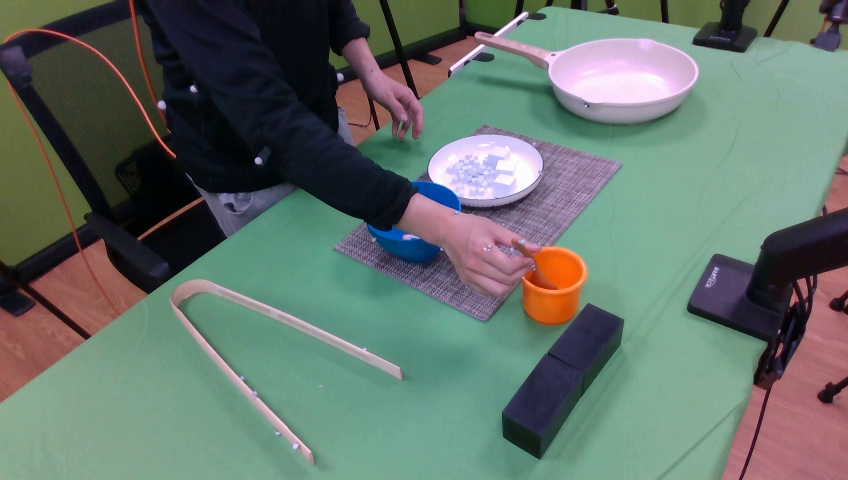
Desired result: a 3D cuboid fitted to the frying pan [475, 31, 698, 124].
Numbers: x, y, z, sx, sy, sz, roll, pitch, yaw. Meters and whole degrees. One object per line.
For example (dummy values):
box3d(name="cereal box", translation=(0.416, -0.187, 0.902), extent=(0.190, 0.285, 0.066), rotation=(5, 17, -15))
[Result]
box3d(name="frying pan", translation=(0.320, -0.371, 1.290), extent=(0.485, 0.103, 0.307), rotation=(28, 50, 23))

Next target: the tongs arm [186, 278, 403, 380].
box3d(name="tongs arm", translation=(-0.193, 0.120, 0.853), extent=(0.385, 0.028, 0.028), rotation=(18, 49, 26))

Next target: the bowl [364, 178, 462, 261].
box3d(name="bowl", translation=(-0.014, -0.020, 0.943), extent=(0.151, 0.077, 0.150), rotation=(-3, 42, 4))

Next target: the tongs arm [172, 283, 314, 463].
box3d(name="tongs arm", translation=(-0.246, 0.161, 0.806), extent=(0.381, 0.026, 0.051), rotation=(29, 51, 36))

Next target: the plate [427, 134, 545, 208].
box3d(name="plate", translation=(0.110, -0.119, 1.073), extent=(0.207, 0.039, 0.206), rotation=(-4, 41, 4))

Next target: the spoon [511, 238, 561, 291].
box3d(name="spoon", translation=(0.140, 0.032, 0.775), extent=(0.041, 0.195, 0.021), rotation=(21, 76, 30))
